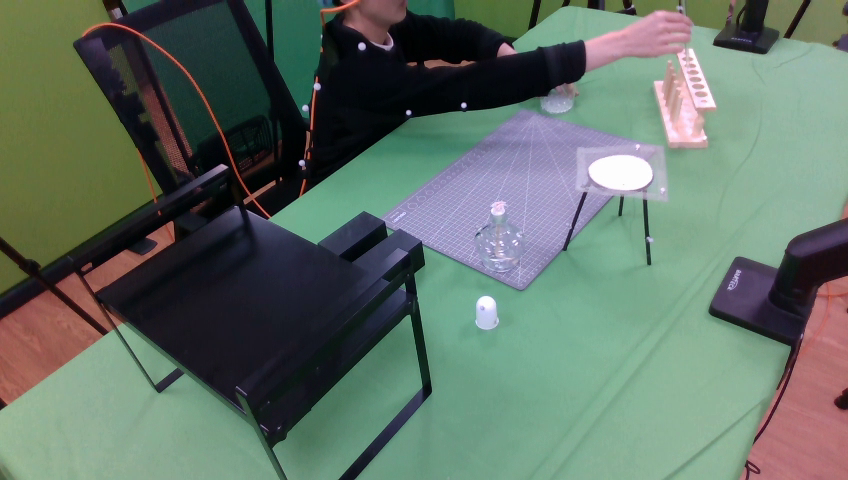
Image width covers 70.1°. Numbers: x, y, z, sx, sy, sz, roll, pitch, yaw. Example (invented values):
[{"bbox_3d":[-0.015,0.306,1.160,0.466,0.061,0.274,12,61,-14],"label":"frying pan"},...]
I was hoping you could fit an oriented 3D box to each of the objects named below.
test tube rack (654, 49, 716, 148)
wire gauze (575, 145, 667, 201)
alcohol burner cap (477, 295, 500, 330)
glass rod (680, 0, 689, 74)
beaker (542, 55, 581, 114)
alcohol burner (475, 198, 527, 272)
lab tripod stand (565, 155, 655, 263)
[{"bbox_3d":[0.502,-0.281,1.176,0.066,0.085,0.241,2,42,11],"label":"test tube rack"},{"bbox_3d":[0.279,-0.100,0.860,0.124,0.011,0.121,5,43,14],"label":"wire gauze"},{"bbox_3d":[0.089,0.097,0.833,0.034,0.048,0.033,-4,42,4],"label":"alcohol burner cap"},{"bbox_3d":[0.473,-0.379,1.098,0.008,0.201,0.008,-14,45,16],"label":"glass rod"},{"bbox_3d":[0.281,-0.320,1.243,0.074,0.101,0.084,8,45,15],"label":"beaker"},{"bbox_3d":[0.113,-0.012,0.897,0.078,0.119,0.077,-6,40,6],"label":"alcohol burner"},{"bbox_3d":[0.285,-0.046,0.901,0.148,0.132,0.147,-5,42,5],"label":"lab tripod stand"}]
